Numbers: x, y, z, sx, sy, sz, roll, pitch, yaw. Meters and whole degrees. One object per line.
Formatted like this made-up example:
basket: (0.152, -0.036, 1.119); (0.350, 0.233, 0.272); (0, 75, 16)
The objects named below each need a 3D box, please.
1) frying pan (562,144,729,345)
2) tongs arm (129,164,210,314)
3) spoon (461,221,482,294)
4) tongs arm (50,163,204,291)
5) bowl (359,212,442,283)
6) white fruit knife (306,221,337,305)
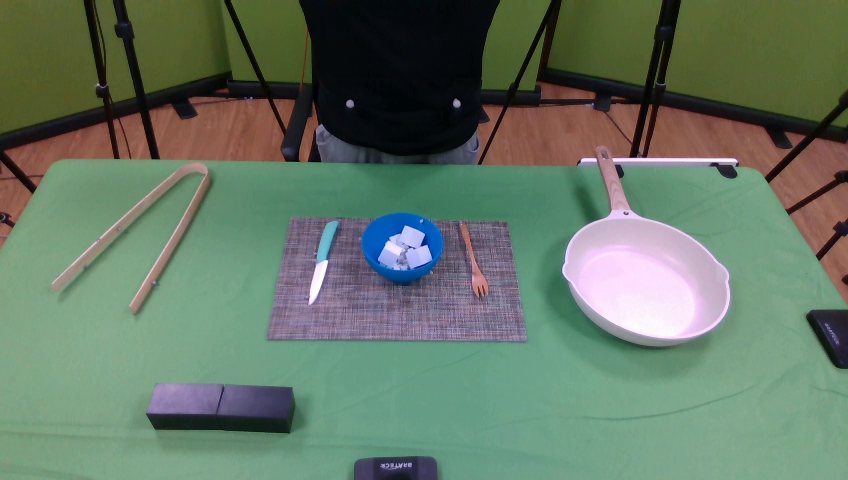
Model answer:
frying pan: (0.396, -0.008, 1.179); (0.307, 0.103, 0.484); (1, 55, -4)
tongs arm: (-0.483, -0.016, 1.170); (0.028, 0.028, 0.385); (5, 46, 4)
spoon: (0.087, 0.031, 1.169); (0.042, 0.022, 0.192); (11, 47, -14)
tongs arm: (-0.561, -0.036, 1.178); (0.050, 0.026, 0.383); (17, 46, 11)
bowl: (-0.044, 0.026, 1.125); (0.151, 0.077, 0.150); (2, 46, -2)
white fruit knife: (-0.196, 0.040, 1.143); (0.027, 0.016, 0.206); (-1, 46, 8)
